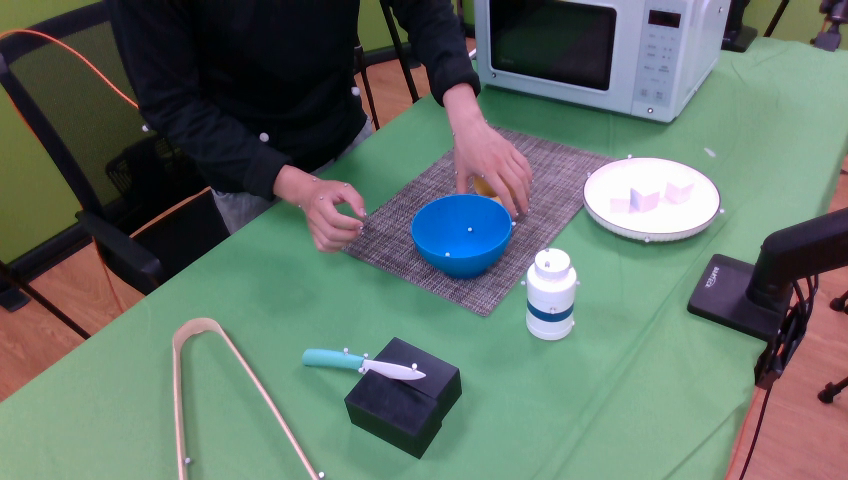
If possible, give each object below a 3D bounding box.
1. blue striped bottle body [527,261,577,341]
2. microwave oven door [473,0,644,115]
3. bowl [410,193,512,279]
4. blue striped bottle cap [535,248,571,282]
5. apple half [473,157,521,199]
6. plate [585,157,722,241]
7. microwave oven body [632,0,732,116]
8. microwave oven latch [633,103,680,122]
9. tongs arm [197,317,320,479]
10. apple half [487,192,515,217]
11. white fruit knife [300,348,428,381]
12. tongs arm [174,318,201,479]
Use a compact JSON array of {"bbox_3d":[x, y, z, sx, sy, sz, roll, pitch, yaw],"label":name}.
[{"bbox_3d":[0.165,0.070,0.786,0.063,0.121,0.063,-5,41,4],"label":"blue striped bottle body"},{"bbox_3d":[0.257,-0.396,1.199,0.353,0.245,0.039,21,48,29],"label":"microwave oven door"},{"bbox_3d":[0.058,0.005,0.904,0.151,0.077,0.150,-4,40,4],"label":"bowl"},{"bbox_3d":[0.161,0.031,0.753,0.044,0.021,0.044,-4,42,4],"label":"blue striped bottle cap"},{"bbox_3d":[0.128,-0.107,1.030,0.080,0.075,0.053,4,38,19],"label":"apple half"},{"bbox_3d":[0.367,-0.063,0.979,0.207,0.039,0.206,-4,40,4],"label":"plate"},{"bbox_3d":[0.377,-0.462,1.267,0.438,0.261,0.327,21,49,30],"label":"microwave oven body"},{"bbox_3d":[0.444,-0.249,1.157,0.078,0.029,0.030,21,49,30],"label":"microwave oven latch"},{"bbox_3d":[-0.199,0.206,0.750,0.028,0.028,0.384,-31,45,-22],"label":"tongs arm"},{"bbox_3d":[0.116,-0.043,0.984,0.081,0.033,0.081,-18,34,14],"label":"apple half"},{"bbox_3d":[-0.079,0.154,0.748,0.206,0.027,0.016,0,20,34],"label":"white fruit knife"},{"bbox_3d":[-0.272,0.234,0.723,0.051,0.026,0.381,-19,40,-14],"label":"tongs arm"}]
